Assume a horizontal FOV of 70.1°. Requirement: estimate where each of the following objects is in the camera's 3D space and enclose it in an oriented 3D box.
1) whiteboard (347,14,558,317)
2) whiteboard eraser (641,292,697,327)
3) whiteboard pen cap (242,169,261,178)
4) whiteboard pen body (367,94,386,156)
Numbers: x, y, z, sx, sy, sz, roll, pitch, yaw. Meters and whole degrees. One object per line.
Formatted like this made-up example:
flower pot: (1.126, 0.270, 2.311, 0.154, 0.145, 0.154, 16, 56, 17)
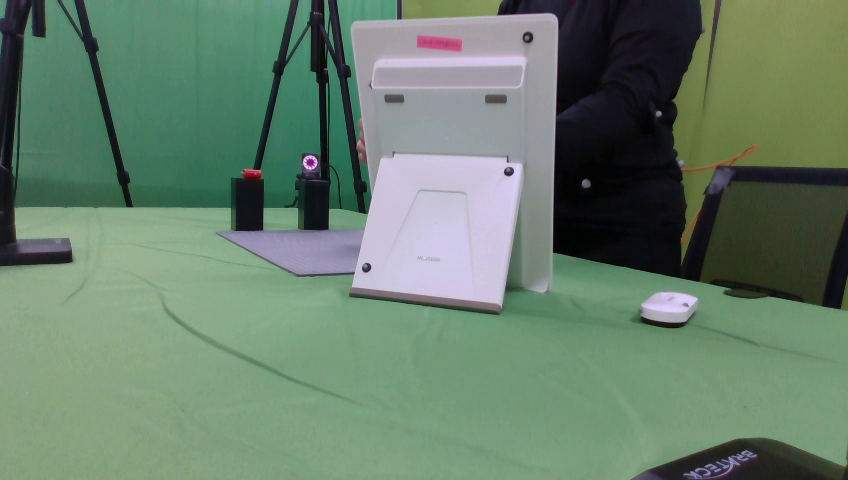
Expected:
whiteboard: (0.012, -0.056, 0.609, 0.216, 0.305, 0.144, 5, 27, 20)
whiteboard eraser: (0.240, 0.066, 0.590, 0.041, 0.019, 0.102, 6, 7, 31)
whiteboard pen cap: (-0.327, -0.126, 1.144, 0.032, 0.017, 0.017, -1, 8, -36)
whiteboard pen body: (-0.077, -0.190, 1.002, 0.017, 0.140, 0.017, -10, -33, -7)
